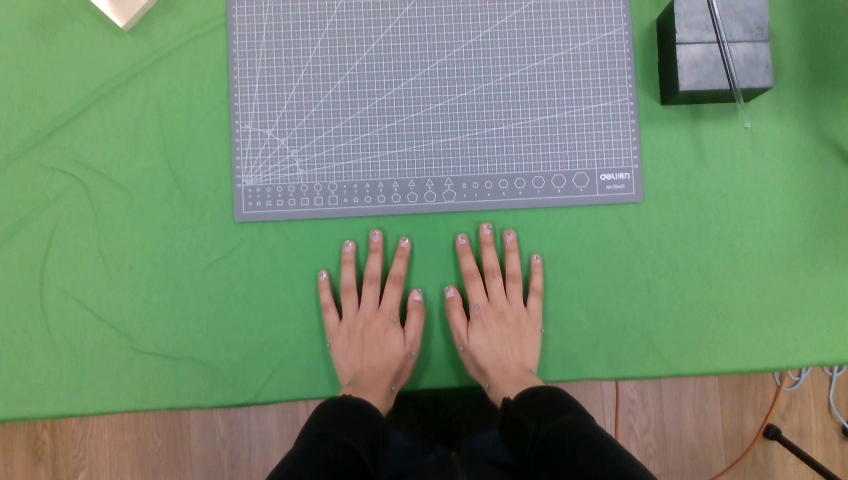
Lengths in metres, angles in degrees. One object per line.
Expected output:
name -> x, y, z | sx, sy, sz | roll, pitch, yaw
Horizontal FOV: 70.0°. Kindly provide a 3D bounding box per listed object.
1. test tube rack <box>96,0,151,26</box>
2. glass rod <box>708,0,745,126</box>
test tube rack -> -0.276, -0.352, 0.640 | 0.066, 0.085, 0.242 | 42, 87, 3
glass rod -> 0.309, -0.215, 0.631 | 0.008, 0.008, 0.199 | -12, 87, -1
